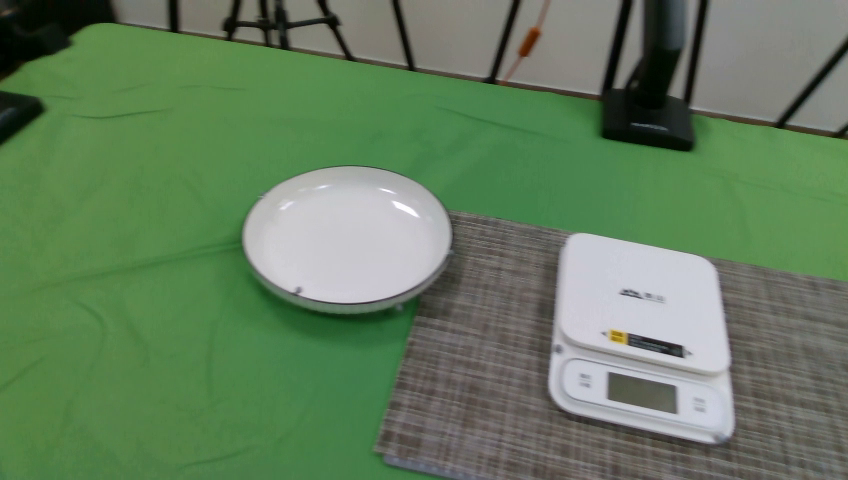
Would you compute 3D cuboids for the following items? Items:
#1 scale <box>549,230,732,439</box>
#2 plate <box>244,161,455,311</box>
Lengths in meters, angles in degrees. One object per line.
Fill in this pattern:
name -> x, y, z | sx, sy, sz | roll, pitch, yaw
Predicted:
scale -> 0.196, 0.075, 0.551 | 0.148, 0.032, 0.199 | 11, 44, 8
plate -> -0.073, -0.005, 0.616 | 0.209, 0.038, 0.207 | 2, 44, -2
